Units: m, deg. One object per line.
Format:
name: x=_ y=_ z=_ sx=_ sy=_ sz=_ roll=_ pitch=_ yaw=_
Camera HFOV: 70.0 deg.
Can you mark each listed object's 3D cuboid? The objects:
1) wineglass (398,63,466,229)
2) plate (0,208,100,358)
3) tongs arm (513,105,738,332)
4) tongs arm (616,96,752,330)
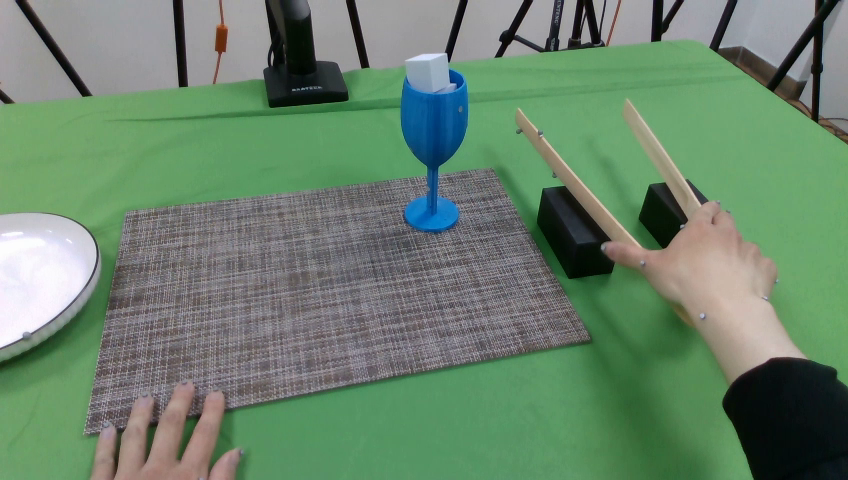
wineglass: x=0.007 y=-0.098 z=0.660 sx=0.074 sy=0.174 sz=0.073 roll=1 pitch=42 yaw=-1
plate: x=-0.423 y=0.046 z=0.587 sx=0.209 sy=0.038 sz=0.207 roll=1 pitch=41 yaw=-1
tongs arm: x=0.193 y=-0.047 z=0.655 sx=0.051 sy=0.027 sz=0.380 roll=-8 pitch=42 yaw=-15
tongs arm: x=0.271 y=-0.056 z=0.669 sx=0.028 sy=0.028 sz=0.383 roll=3 pitch=41 yaw=-7
